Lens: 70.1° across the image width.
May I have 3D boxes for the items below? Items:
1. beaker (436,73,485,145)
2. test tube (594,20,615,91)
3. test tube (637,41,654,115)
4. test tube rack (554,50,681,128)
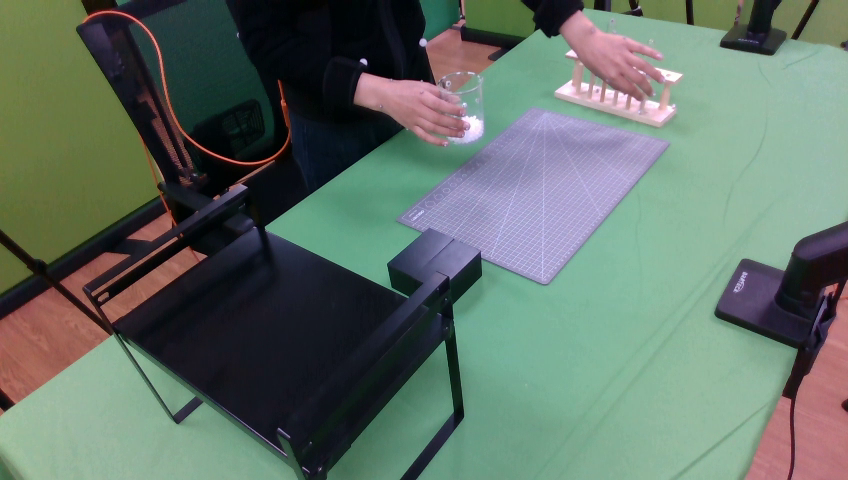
[{"bbox_3d":[0.066,-0.216,1.002,0.084,0.101,0.073,-22,43,-15],"label":"beaker"},{"bbox_3d":[0.367,-0.372,1.233,0.017,0.151,0.017,0,43,0],"label":"test tube"},{"bbox_3d":[0.422,-0.307,1.154,0.017,0.151,0.017,-5,41,4],"label":"test tube"},{"bbox_3d":[0.387,-0.312,1.234,0.240,0.085,0.067,27,51,34],"label":"test tube rack"}]
